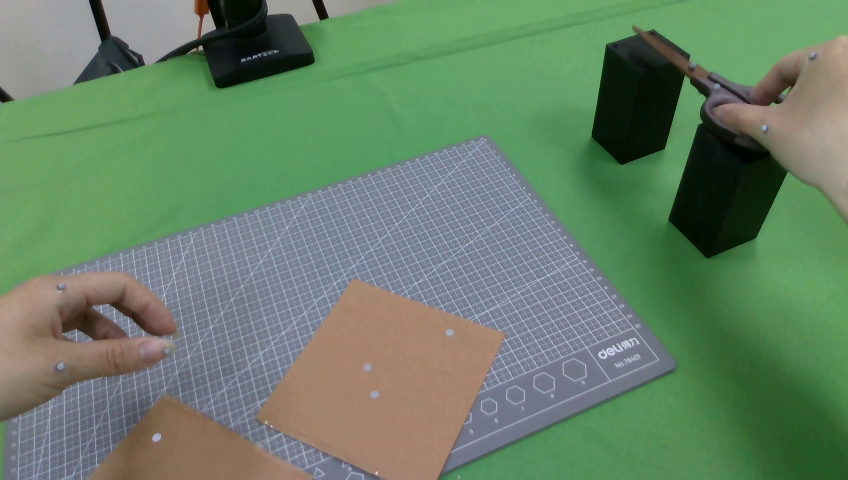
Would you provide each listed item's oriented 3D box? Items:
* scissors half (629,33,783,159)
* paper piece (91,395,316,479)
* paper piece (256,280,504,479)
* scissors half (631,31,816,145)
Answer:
[{"bbox_3d":[0.206,-0.118,0.466,0.040,0.013,0.173,-16,50,-9],"label":"scissors half"},{"bbox_3d":[-0.160,0.176,0.374,0.135,0.009,0.137,19,54,25],"label":"paper piece"},{"bbox_3d":[-0.028,0.097,0.434,0.134,0.004,0.135,18,51,20],"label":"paper piece"},{"bbox_3d":[0.224,-0.126,0.470,0.040,0.013,0.173,-32,53,-14],"label":"scissors half"}]
